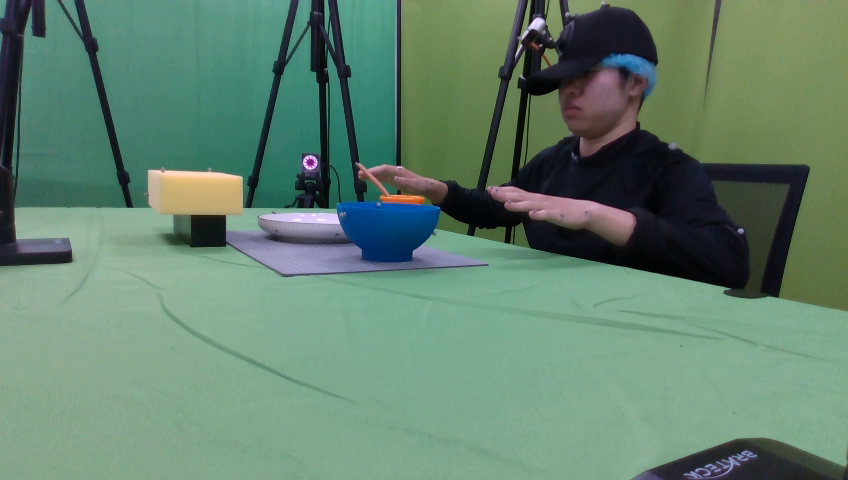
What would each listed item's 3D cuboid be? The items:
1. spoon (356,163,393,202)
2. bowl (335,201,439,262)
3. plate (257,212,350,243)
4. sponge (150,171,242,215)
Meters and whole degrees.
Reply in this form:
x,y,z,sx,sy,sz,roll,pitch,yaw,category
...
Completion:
x,y,z,sx,sy,sz,roll,pitch,yaw,category
-0.079,-0.090,1.232,0.021,0.193,0.042,-44,-16,26,spoon
-0.054,-0.012,0.871,0.151,0.077,0.151,3,8,0,bowl
-0.189,-0.023,1.072,0.209,0.038,0.209,3,7,0,plate
-0.379,-0.079,0.994,0.119,0.061,0.206,-1,8,-29,sponge
